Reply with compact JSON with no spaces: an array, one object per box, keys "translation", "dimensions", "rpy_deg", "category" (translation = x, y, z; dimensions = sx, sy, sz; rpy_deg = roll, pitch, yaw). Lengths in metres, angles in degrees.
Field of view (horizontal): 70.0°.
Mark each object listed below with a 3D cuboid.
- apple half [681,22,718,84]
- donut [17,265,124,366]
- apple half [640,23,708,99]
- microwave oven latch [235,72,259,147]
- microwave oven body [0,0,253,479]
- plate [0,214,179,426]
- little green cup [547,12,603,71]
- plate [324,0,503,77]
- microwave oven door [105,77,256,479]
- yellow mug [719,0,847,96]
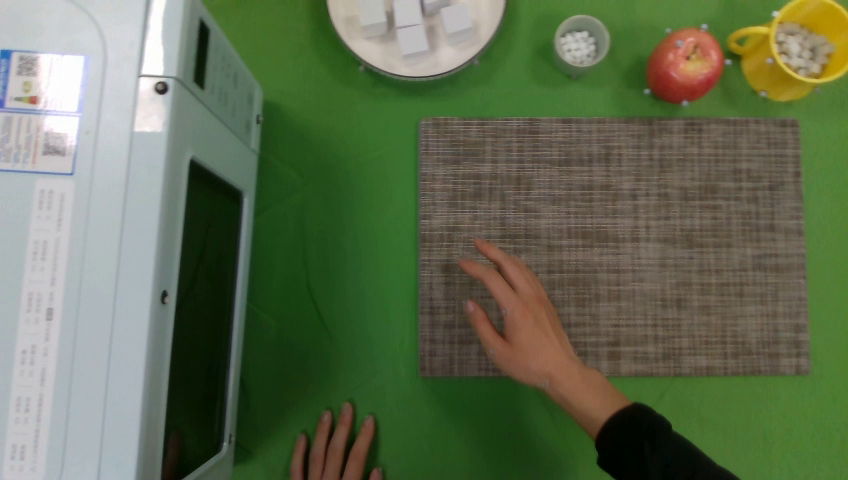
[{"translation":[0.310,-0.214,0.690],"dimensions":[0.033,0.081,0.081],"rpy_deg":[-27,86,2],"category":"apple half"},{"translation":[-0.346,0.074,0.595],"dimensions":[0.099,0.048,0.099],"rpy_deg":[0,87,0],"category":"donut"},{"translation":[0.275,-0.196,0.689],"dimensions":[0.053,0.074,0.081],"rpy_deg":[-27,90,2],"category":"apple half"},{"translation":[-0.201,-0.145,0.674],"dimensions":[0.030,0.029,0.079],"rpy_deg":[4,86,-1],"category":"microwave oven latch"},{"translation":[-0.356,0.015,0.561],"dimensions":[0.326,0.260,0.440],"rpy_deg":[3,86,-1],"category":"microwave oven body"},{"translation":[-0.349,0.078,0.608],"dimensions":[0.209,0.038,0.208],"rpy_deg":[0,86,-2],"category":"plate"},{"translation":[0.173,-0.229,0.707],"dimensions":[0.061,0.038,0.061],"rpy_deg":[0,85,-1],"category":"little green cup"},{"translation":[-0.012,-0.288,0.707],"dimensions":[0.208,0.039,0.207],"rpy_deg":[0,85,-1],"category":"plate"},{"translation":[-0.212,0.063,0.555],"dimensions":[0.039,0.244,0.355],"rpy_deg":[2,85,0],"category":"microwave oven door"},{"translation":[0.408,-0.228,0.697],"dimensions":[0.131,0.064,0.099],"rpy_deg":[11,84,0],"category":"yellow mug"}]
